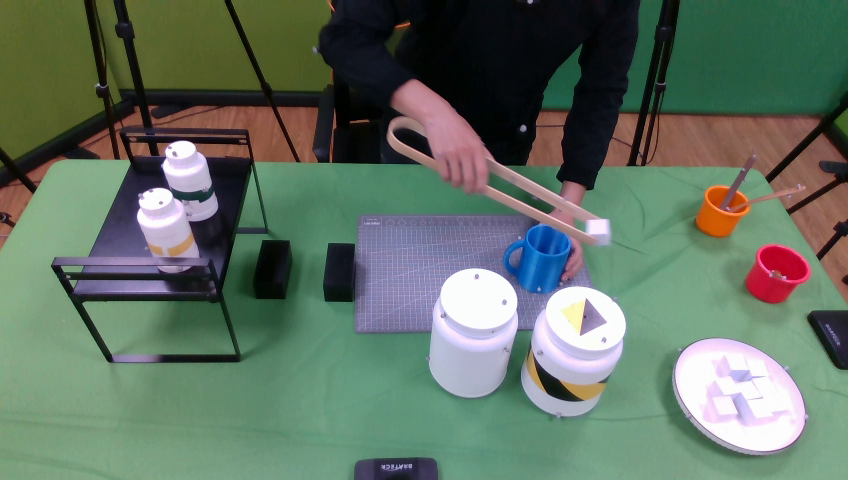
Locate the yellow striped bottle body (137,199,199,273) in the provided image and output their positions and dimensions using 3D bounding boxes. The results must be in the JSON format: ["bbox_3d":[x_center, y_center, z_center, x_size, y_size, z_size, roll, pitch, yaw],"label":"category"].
[{"bbox_3d":[-0.366,-0.014,0.864,0.063,0.121,0.062,2,46,-2],"label":"yellow striped bottle body"}]

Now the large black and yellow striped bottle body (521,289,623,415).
[{"bbox_3d":[0.228,0.173,0.937,0.131,0.185,0.130,2,47,-2],"label":"large black and yellow striped bottle body"}]

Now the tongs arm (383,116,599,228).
[{"bbox_3d":[0.107,-0.106,0.997,0.384,0.026,0.050,30,61,3],"label":"tongs arm"}]

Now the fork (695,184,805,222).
[{"bbox_3d":[0.657,-0.075,1.230,0.207,0.019,0.028,-23,34,37],"label":"fork"}]

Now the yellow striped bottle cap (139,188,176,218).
[{"bbox_3d":[-0.363,-0.051,0.826,0.044,0.019,0.044,1,47,-1],"label":"yellow striped bottle cap"}]

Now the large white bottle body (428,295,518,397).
[{"bbox_3d":[0.075,0.147,0.950,0.131,0.185,0.130,2,47,-2],"label":"large white bottle body"}]

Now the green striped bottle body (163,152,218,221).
[{"bbox_3d":[-0.363,-0.092,0.939,0.063,0.120,0.063,2,46,-2],"label":"green striped bottle body"}]

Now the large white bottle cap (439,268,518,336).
[{"bbox_3d":[0.080,0.089,0.888,0.115,0.018,0.114,2,47,-2],"label":"large white bottle cap"}]

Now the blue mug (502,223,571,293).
[{"bbox_3d":[0.202,0.033,1.120,0.116,0.106,0.082,3,47,0],"label":"blue mug"}]

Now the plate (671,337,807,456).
[{"bbox_3d":[0.504,0.253,0.984,0.208,0.039,0.206,2,46,-2],"label":"plate"}]

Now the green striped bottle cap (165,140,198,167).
[{"bbox_3d":[-0.361,-0.128,0.902,0.044,0.020,0.044,3,47,-3],"label":"green striped bottle cap"}]

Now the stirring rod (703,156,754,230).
[{"bbox_3d":[0.631,-0.098,1.258,0.014,0.006,0.176,33,95,29],"label":"stirring rod"}]

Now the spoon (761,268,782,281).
[{"bbox_3d":[0.638,0.060,1.105,0.041,0.021,0.194,38,11,24],"label":"spoon"}]

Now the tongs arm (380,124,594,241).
[{"bbox_3d":[0.099,-0.089,0.985,0.387,0.028,0.028,26,64,1],"label":"tongs arm"}]

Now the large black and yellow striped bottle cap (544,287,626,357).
[{"bbox_3d":[0.232,0.116,0.876,0.115,0.019,0.114,1,45,-1],"label":"large black and yellow striped bottle cap"}]
